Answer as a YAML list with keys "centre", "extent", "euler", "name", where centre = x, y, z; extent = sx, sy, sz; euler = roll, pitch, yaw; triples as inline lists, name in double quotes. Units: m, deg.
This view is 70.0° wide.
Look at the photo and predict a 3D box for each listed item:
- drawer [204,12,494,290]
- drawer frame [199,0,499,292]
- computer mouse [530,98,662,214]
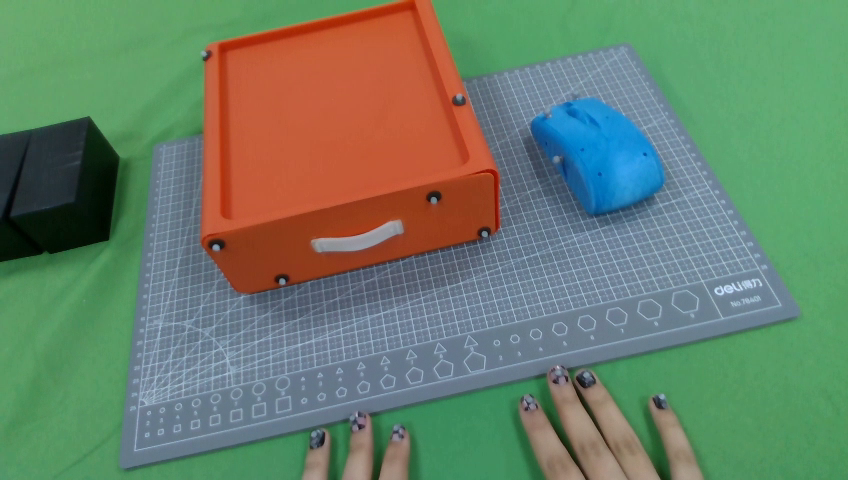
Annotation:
- centre: [-0.065, -0.080, 0.478]
  extent: [0.194, 0.074, 0.209]
  euler: [-14, 53, -1]
  name: "drawer"
- centre: [-0.065, -0.082, 0.479]
  extent: [0.202, 0.083, 0.211]
  euler: [-14, 53, -2]
  name: "drawer frame"
- centre: [0.132, -0.073, 0.474]
  extent: [0.063, 0.041, 0.116]
  euler: [-20, 50, -4]
  name: "computer mouse"
